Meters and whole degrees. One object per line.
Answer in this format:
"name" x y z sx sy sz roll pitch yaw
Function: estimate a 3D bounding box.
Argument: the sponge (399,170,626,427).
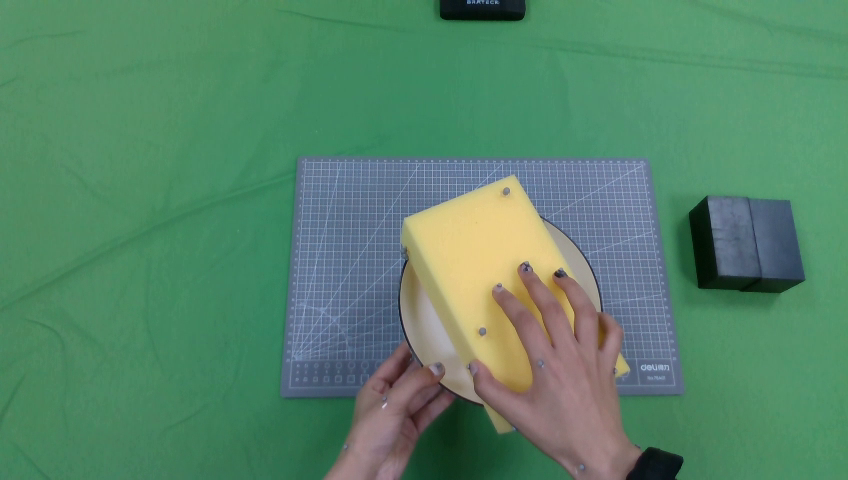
"sponge" 0.075 0.051 0.559 0.118 0.061 0.205 -24 74 -14

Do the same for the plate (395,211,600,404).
"plate" 0.073 0.062 0.611 0.209 0.038 0.208 3 72 -9
